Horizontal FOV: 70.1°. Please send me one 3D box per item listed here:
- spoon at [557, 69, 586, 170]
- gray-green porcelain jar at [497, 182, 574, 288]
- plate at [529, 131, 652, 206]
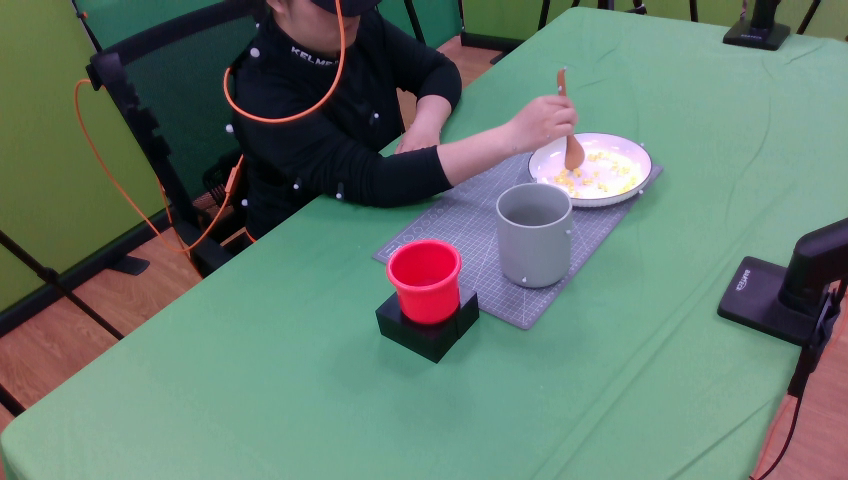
[{"bbox_3d":[0.243,-0.198,1.019,0.042,0.195,0.021,-26,34,-5],"label":"spoon"},{"bbox_3d":[0.161,-0.003,0.869,0.106,0.127,0.105,-5,40,5],"label":"gray-green porcelain jar"},{"bbox_3d":[0.287,-0.121,1.056,0.207,0.039,0.206,-5,40,5],"label":"plate"}]
